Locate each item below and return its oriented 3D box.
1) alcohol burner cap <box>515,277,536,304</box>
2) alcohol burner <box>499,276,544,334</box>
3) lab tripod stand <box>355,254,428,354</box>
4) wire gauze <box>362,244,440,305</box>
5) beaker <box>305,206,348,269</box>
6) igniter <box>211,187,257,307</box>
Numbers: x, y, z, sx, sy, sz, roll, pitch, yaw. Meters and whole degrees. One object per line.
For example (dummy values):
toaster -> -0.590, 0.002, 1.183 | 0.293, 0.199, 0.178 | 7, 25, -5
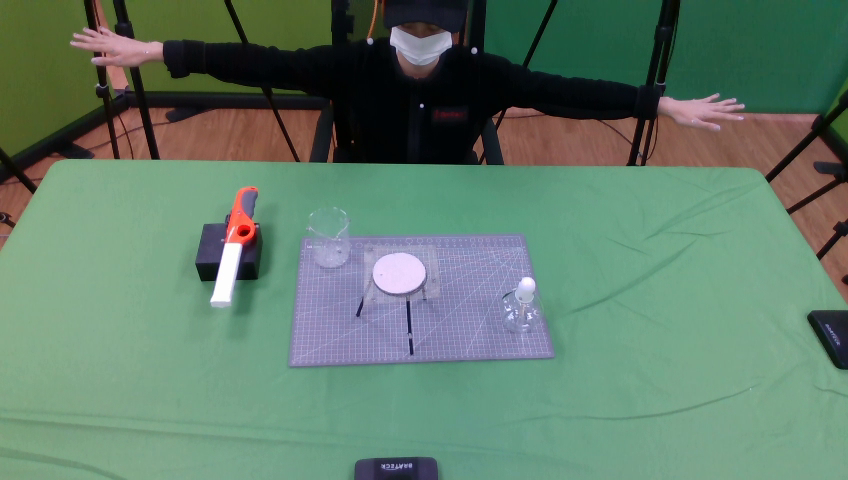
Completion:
alcohol burner cap -> 0.171, 0.083, 1.015 | 0.034, 0.048, 0.033 | 1, 52, -1
alcohol burner -> 0.170, 0.106, 1.041 | 0.078, 0.120, 0.077 | 1, 44, -1
lab tripod stand -> -0.046, 0.100, 1.017 | 0.148, 0.132, 0.147 | 1, 47, -1
wire gauze -> -0.038, 0.051, 0.971 | 0.121, 0.011, 0.124 | -1, 46, -4
beaker -> -0.176, 0.001, 1.126 | 0.074, 0.101, 0.083 | -14, 49, -16
igniter -> -0.343, 0.003, 1.100 | 0.057, 0.025, 0.274 | 2, 49, -4
